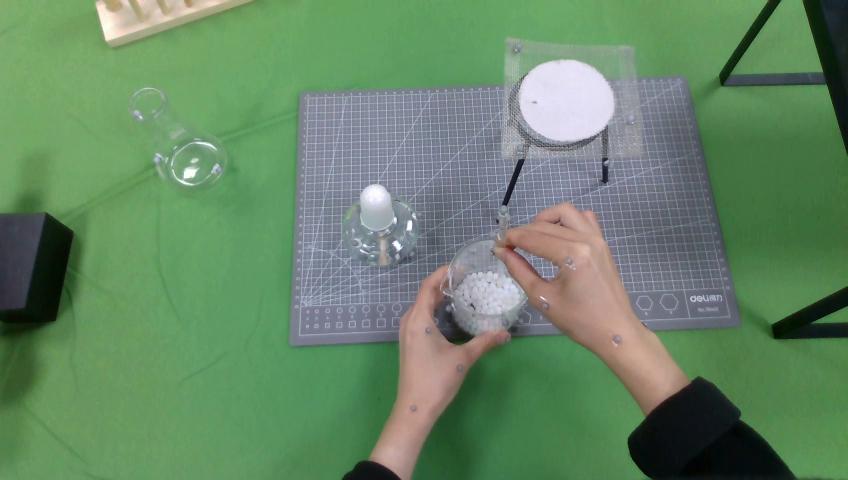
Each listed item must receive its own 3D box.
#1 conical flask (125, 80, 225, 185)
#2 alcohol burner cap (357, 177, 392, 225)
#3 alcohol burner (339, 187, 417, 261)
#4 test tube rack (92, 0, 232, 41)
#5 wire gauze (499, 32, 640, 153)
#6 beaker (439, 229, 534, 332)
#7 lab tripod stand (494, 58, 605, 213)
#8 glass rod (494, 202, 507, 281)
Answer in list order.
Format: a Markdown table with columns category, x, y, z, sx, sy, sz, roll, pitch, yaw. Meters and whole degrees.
| category | x | y | z | sx | sy | sz | roll | pitch | yaw |
| --- | --- | --- | --- | --- | --- | --- | --- | --- | --- |
| conical flask | -0.260 | -0.113 | 0.621 | 0.075 | 0.122 | 0.075 | 0 | 69 | 1 |
| alcohol burner cap | -0.046 | -0.039 | 0.553 | 0.034 | 0.048 | 0.033 | 1 | 63 | -2 |
| alcohol burner | -0.045 | -0.024 | 0.587 | 0.078 | 0.120 | 0.077 | 0 | 68 | -1 |
| test tube rack | -0.285 | -0.328 | 0.720 | 0.242 | 0.086 | 0.066 | -22 | 71 | -7 |
| wire gauze | 0.129 | -0.133 | 0.541 | 0.121 | 0.011 | 0.124 | 3 | 70 | 0 |
| beaker | 0.055 | 0.044 | 0.568 | 0.084 | 0.101 | 0.073 | -12 | 69 | -3 |
| lab tripod stand | 0.123 | -0.105 | 0.603 | 0.148 | 0.132 | 0.147 | 0 | 68 | 0 |
| glass rod | 0.064 | 0.007 | 0.515 | 0.008 | 0.201 | 0.008 | -2 | 72 | 5 |
